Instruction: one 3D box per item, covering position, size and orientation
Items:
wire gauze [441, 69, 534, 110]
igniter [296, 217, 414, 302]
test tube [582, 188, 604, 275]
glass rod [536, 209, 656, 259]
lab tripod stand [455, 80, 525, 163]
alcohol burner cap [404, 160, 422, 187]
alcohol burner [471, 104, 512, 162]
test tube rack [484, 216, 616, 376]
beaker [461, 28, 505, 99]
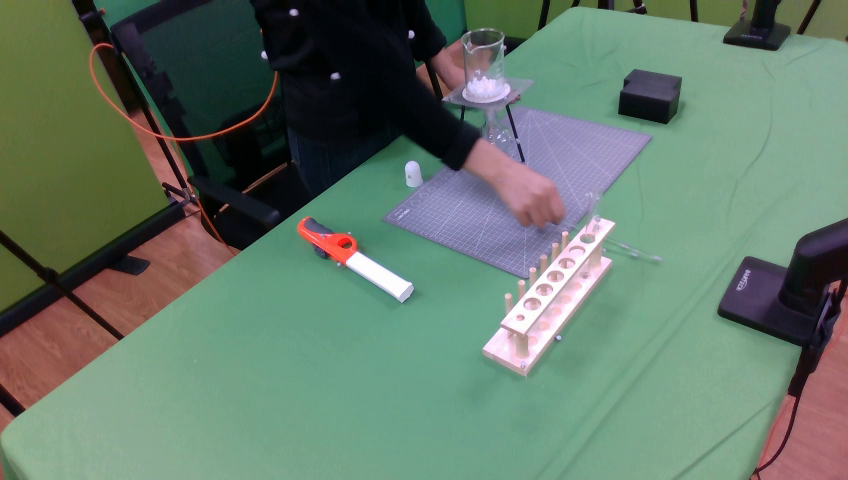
[{"bbox_3d":[0.114,-0.268,1.082,0.120,0.011,0.125,22,47,29],"label":"wire gauze"},{"bbox_3d":[-0.121,0.025,0.970,0.274,0.025,0.057,29,63,37],"label":"igniter"},{"bbox_3d":[0.229,-0.007,0.821,0.017,0.151,0.017,-3,42,3],"label":"test tube"},{"bbox_3d":[0.263,-0.011,0.938,0.198,0.008,0.008,25,51,27],"label":"glass rod"},{"bbox_3d":[0.121,-0.219,1.126,0.148,0.132,0.147,-4,40,4],"label":"lab tripod stand"},{"bbox_3d":[-0.022,-0.125,1.118,0.034,0.048,0.033,-4,40,4],"label":"alcohol burner cap"},{"bbox_3d":[0.125,-0.206,1.126,0.078,0.119,0.077,-5,43,5],"label":"alcohol burner"},{"bbox_3d":[0.175,0.064,0.823,0.066,0.085,0.243,23,49,33],"label":"test tube rack"},{"bbox_3d":[0.103,-0.304,1.051,0.073,0.101,0.084,19,48,29],"label":"beaker"}]
